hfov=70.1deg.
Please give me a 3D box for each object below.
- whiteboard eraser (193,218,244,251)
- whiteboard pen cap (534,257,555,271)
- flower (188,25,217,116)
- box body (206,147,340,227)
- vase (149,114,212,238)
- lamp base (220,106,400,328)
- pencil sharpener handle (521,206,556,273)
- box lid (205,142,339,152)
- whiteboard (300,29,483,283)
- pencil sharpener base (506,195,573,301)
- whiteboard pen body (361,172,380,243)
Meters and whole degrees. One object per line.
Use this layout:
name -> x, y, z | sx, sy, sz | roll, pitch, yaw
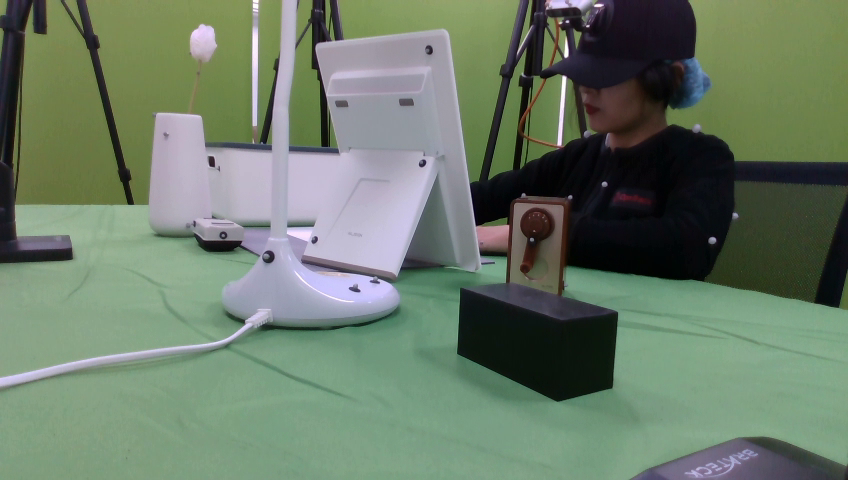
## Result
whiteboard eraser -> -0.307, -0.009, 0.900 | 0.056, 0.042, 0.112 | -4, 10, -28
whiteboard pen cap -> 0.166, 0.033, 0.839 | 0.018, 0.018, 0.033 | -1, 6, -23
flower -> -0.394, -0.189, 1.011 | 0.044, 0.361, 0.038 | -1, -13, 27
box body -> -0.276, -0.122, 1.320 | 0.366, 0.160, 0.253 | -2, 9, -30
vase -> -0.405, -0.106, 1.005 | 0.098, 0.200, 0.098 | 2, 6, 0
lamp base -> -0.101, -0.023, 0.531 | 0.160, 0.180, 0.179 | 4, 10, 10
pencil sharpener handle -> 0.112, 0.000, 0.613 | 0.036, 0.067, 0.031 | 13, 10, 14
box lid -> -0.270, -0.196, 1.310 | 0.373, 0.015, 0.262 | -2, 9, -30
whiteboard -> -0.074, -0.082, 0.742 | 0.216, 0.305, 0.144 | 9, 29, 38
pencil sharpener base -> 0.127, 0.007, 0.663 | 0.061, 0.107, 0.077 | 5, 8, 15
whiteboard pen body -> -0.092, -0.056, 1.031 | 0.017, 0.140, 0.017 | 6, -29, 4
